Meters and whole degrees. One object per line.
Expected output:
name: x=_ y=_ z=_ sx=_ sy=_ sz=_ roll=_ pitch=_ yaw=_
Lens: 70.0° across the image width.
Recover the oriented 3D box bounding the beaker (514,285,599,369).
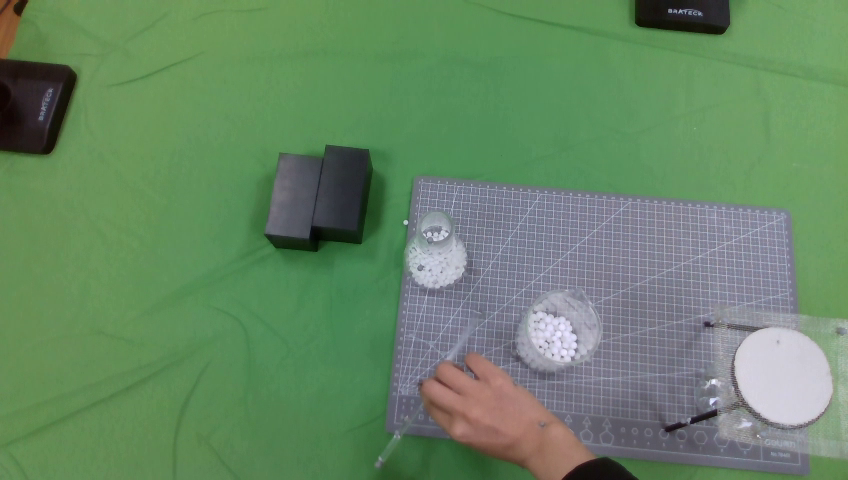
beaker: x=0.135 y=0.093 z=0.631 sx=0.074 sy=0.101 sz=0.083 roll=28 pitch=74 yaw=8

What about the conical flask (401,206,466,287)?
conical flask: x=0.010 y=0.002 z=0.646 sx=0.075 sy=0.122 sz=0.075 roll=0 pitch=72 yaw=1

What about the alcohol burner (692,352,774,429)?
alcohol burner: x=0.317 y=0.149 z=0.606 sx=0.078 sy=0.120 sz=0.077 roll=-1 pitch=73 yaw=3

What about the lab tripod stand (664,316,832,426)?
lab tripod stand: x=0.317 y=0.140 z=0.599 sx=0.148 sy=0.132 sz=0.147 roll=0 pitch=75 yaw=1

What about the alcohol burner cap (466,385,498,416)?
alcohol burner cap: x=0.063 y=0.168 z=0.638 sx=0.034 sy=0.048 sz=0.033 roll=1 pitch=72 yaw=-1

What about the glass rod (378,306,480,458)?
glass rod: x=0.009 y=0.142 z=0.634 sx=0.008 sy=0.008 sz=0.199 roll=32 pitch=59 yaw=9

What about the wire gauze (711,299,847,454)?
wire gauze: x=0.317 y=0.118 z=0.534 sx=0.125 sy=0.011 sz=0.121 roll=8 pitch=75 yaw=3
